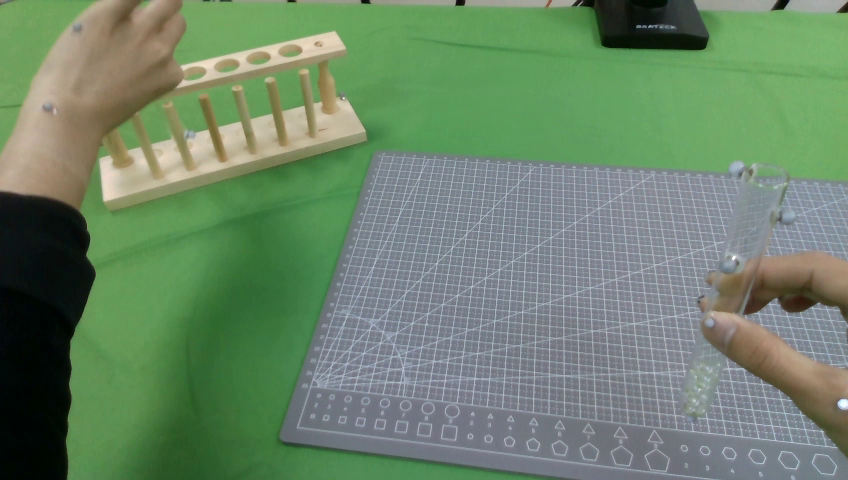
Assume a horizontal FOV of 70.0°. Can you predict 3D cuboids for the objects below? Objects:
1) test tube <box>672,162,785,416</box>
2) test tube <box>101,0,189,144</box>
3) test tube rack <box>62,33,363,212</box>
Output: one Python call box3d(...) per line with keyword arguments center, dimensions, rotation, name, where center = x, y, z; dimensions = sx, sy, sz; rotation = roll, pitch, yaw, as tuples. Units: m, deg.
box3d(center=(0.130, 0.032, 0.269), dimensions=(0.017, 0.151, 0.017), rotation=(-4, 40, 4), name="test tube")
box3d(center=(-0.220, -0.136, 0.478), dimensions=(0.017, 0.152, 0.017), rotation=(-2, 50, 3), name="test tube")
box3d(center=(-0.185, -0.111, 0.559), dimensions=(0.243, 0.086, 0.066), rotation=(-18, 50, -15), name="test tube rack")
